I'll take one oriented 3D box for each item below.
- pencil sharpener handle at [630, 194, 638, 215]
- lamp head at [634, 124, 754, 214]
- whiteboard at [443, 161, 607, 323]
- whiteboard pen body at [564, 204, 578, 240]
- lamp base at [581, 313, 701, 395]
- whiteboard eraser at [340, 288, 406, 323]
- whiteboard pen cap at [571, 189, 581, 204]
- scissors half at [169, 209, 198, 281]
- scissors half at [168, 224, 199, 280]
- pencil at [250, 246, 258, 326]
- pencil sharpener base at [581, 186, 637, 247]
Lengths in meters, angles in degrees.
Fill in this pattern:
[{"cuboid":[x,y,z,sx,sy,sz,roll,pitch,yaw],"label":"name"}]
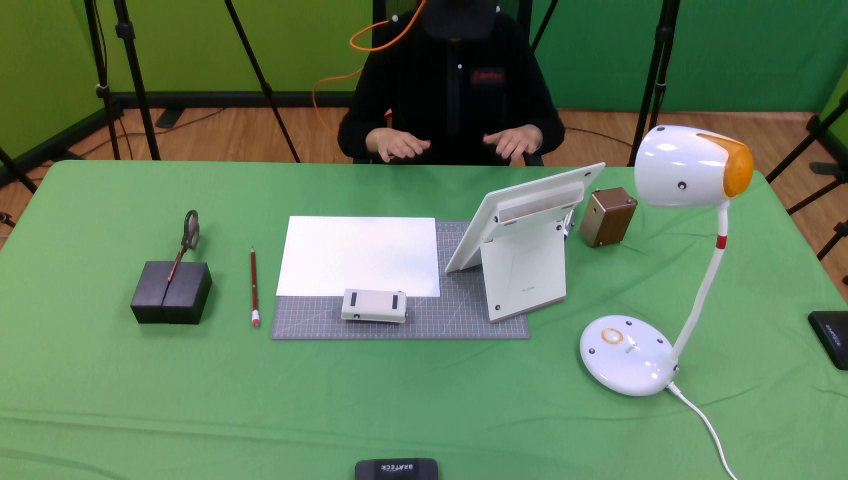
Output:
[{"cuboid":[0.417,-0.068,1.215,0.031,0.068,0.036,-11,60,-15],"label":"pencil sharpener handle"},{"cuboid":[0.351,-0.089,0.775,0.112,0.113,0.122,-30,30,-28],"label":"lamp head"},{"cuboid":[0.185,0.025,1.029,0.217,0.306,0.143,-15,68,-18],"label":"whiteboard"},{"cuboid":[0.307,-0.052,1.270,0.017,0.017,0.140,18,49,12],"label":"whiteboard pen body"},{"cuboid":[0.361,0.144,0.972,0.178,0.181,0.160,34,53,23],"label":"lamp base"},{"cuboid":[-0.088,0.117,1.060,0.113,0.042,0.055,3,45,-1],"label":"whiteboard eraser"},{"cuboid":[0.328,-0.094,1.307,0.018,0.018,0.033,18,51,13],"label":"whiteboard pen cap"},{"cuboid":[-0.438,0.007,1.099,0.013,0.040,0.174,5,48,-5],"label":"scissors half"},{"cuboid":[-0.441,0.023,1.111,0.013,0.040,0.174,9,29,-8],"label":"scissors half"},{"cuboid":[-0.312,0.079,1.106,0.012,0.012,0.192,-7,46,-11],"label":"pencil"},{"cuboid":[0.369,-0.047,1.209,0.077,0.107,0.061,-11,47,-15],"label":"pencil sharpener base"}]
